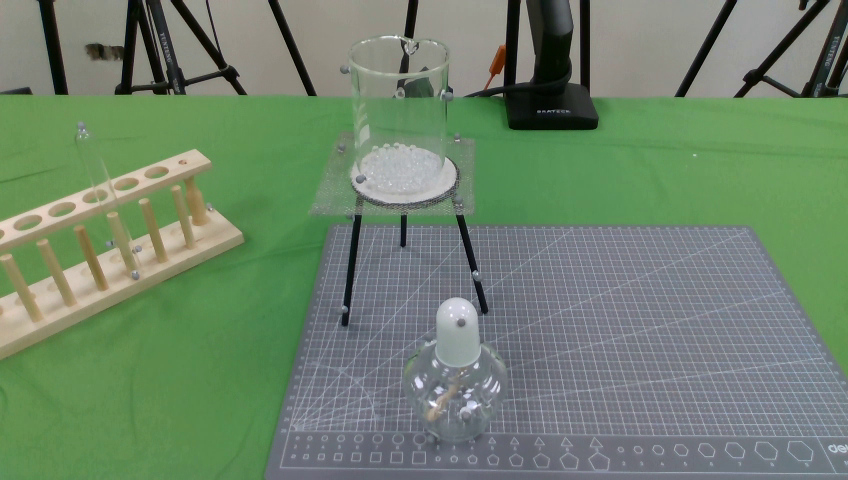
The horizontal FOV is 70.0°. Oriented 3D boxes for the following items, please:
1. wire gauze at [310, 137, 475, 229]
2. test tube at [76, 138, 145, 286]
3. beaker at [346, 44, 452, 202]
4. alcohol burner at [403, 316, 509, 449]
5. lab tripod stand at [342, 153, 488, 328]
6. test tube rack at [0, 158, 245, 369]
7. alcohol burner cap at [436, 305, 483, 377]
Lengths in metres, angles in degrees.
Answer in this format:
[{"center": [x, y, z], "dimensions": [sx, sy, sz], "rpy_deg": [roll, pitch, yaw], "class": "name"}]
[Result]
[{"center": [-0.020, -0.048, 0.486], "dimensions": [0.121, 0.011, 0.124], "rpy_deg": [2, 40, 3], "class": "wire gauze"}, {"center": [-0.274, -0.020, 0.533], "dimensions": [0.017, 0.151, 0.017], "rpy_deg": [0, 37, 0], "class": "test tube"}, {"center": [-0.017, -0.088, 0.457], "dimensions": [0.074, 0.101, 0.083], "rpy_deg": [8, 38, 7], "class": "beaker"}, {"center": [0.023, 0.093, 0.428], "dimensions": [0.078, 0.120, 0.077], "rpy_deg": [0, 40, 0], "class": "alcohol burner"}, {"center": [-0.011, 0.003, 0.528], "dimensions": [0.148, 0.132, 0.147], "rpy_deg": [1, 37, 0], "class": "lab tripod stand"}, {"center": [-0.298, 0.014, 0.562], "dimensions": [0.242, 0.086, 0.066], "rpy_deg": [-30, 46, -32], "class": "test tube rack"}, {"center": [0.024, 0.064, 0.406], "dimensions": [0.034, 0.048, 0.033], "rpy_deg": [-2, 38, 2], "class": "alcohol burner cap"}]
